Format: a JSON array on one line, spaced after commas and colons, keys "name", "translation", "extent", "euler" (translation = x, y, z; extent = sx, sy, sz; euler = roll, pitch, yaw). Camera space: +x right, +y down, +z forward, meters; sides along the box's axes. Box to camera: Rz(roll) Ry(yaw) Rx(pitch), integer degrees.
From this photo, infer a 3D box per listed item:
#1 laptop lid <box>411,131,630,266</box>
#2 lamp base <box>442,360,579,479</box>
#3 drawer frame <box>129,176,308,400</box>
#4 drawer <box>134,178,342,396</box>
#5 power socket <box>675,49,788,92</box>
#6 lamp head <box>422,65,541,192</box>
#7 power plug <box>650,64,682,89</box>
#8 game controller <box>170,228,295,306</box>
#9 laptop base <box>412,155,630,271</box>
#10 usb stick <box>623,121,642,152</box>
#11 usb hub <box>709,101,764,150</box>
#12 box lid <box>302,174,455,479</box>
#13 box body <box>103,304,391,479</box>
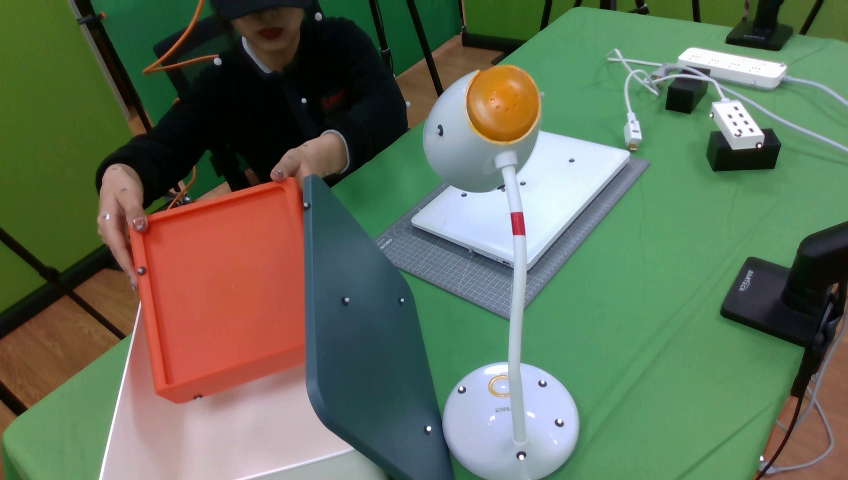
[{"name": "laptop lid", "translation": [0.172, -0.094, 1.050], "extent": [0.239, 0.013, 0.358], "euler": [23, 49, 36]}, {"name": "lamp base", "translation": [0.094, 0.158, 0.657], "extent": [0.161, 0.181, 0.178], "euler": [-13, 42, -5]}, {"name": "drawer frame", "translation": [-0.219, 0.052, 0.715], "extent": [0.202, 0.083, 0.212], "euler": [-18, 67, -9]}, {"name": "drawer", "translation": [-0.219, 0.051, 0.717], "extent": [0.195, 0.073, 0.210], "euler": [-17, 66, -10]}, {"name": "power socket", "translation": [0.647, -0.363, 1.284], "extent": [0.225, 0.033, 0.072], "euler": [26, 53, 35]}, {"name": "lamp head", "translation": [0.060, -0.106, 0.560], "extent": [0.113, 0.112, 0.122], "euler": [-17, 0, -8]}, {"name": "power plug", "translation": [0.498, -0.341, 1.263], "extent": [0.035, 0.052, 0.072], "euler": [20, 10, -7]}, {"name": "game controller", "translation": [-0.236, 0.022, 0.745], "extent": [0.156, 0.052, 0.096], "euler": [-19, 38, -12]}, {"name": "laptop base", "translation": [0.176, -0.084, 1.056], "extent": [0.233, 0.023, 0.355], "euler": [20, 48, 36]}, {"name": "usb stick", "translation": [0.389, -0.191, 1.128], "extent": [0.021, 0.027, 0.059], "euler": [9, 61, -9]}, {"name": "usb hub", "translation": [0.534, -0.199, 1.040], "extent": [0.049, 0.025, 0.124], "euler": [-5, 39, 8]}, {"name": "box lid", "translation": [-0.057, 0.102, 0.702], "extent": [0.015, 0.265, 0.369], "euler": [-29, 39, 11]}, {"name": "box body", "translation": [-0.190, 0.161, 0.723], "extent": [0.255, 0.161, 0.361], "euler": [-13, 40, -5]}]
